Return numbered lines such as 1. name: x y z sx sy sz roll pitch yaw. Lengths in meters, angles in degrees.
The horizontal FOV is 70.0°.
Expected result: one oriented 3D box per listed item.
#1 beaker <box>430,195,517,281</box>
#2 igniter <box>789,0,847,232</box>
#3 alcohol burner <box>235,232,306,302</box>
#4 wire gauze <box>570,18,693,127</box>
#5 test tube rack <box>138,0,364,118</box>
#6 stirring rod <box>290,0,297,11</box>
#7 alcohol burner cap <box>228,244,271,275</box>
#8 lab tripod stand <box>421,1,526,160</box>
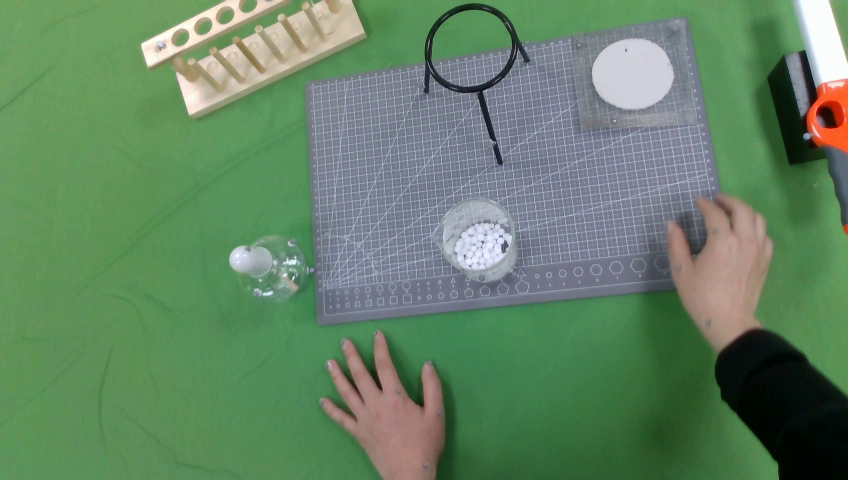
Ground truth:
1. beaker: 0.056 0.003 0.622 0.084 0.101 0.073 -1 79 12
2. igniter: 0.388 -0.141 0.575 0.057 0.025 0.275 -8 76 12
3. alcohol burner: -0.175 0.026 0.658 0.078 0.120 0.077 -2 77 10
4. wire gauze: 0.228 -0.183 0.669 0.125 0.011 0.121 -2 79 8
5. test tube rack: -0.203 -0.239 0.725 0.242 0.085 0.066 -24 76 6
6. stirring rod: -0.167 -0.309 0.650 0.006 0.177 0.014 -23 70 0
7. alcohol burner cap: -0.183 0.019 0.623 0.034 0.048 0.034 -1 83 10
8. lab tripod stand: 0.055 -0.170 0.635 0.148 0.132 0.148 -1 80 9
